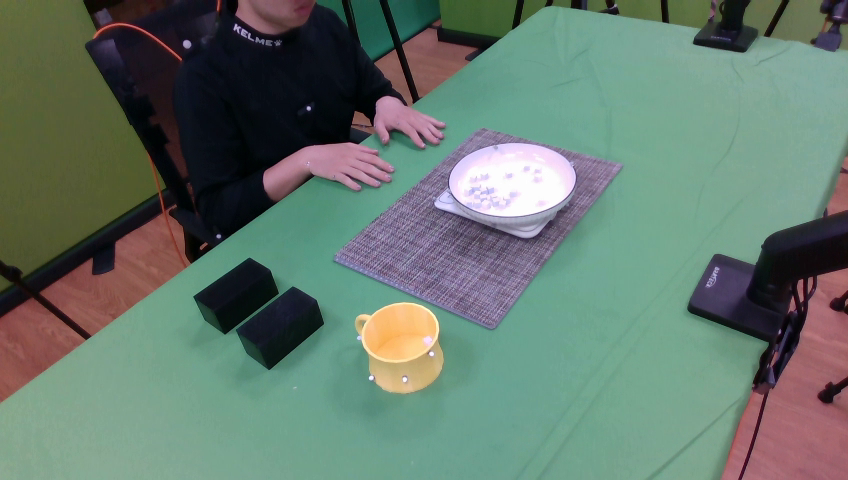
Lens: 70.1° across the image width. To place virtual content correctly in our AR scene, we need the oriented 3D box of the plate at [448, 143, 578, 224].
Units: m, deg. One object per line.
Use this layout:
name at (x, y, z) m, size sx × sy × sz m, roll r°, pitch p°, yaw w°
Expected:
plate at (0.145, -0.089, 0.989) m, size 0.209 × 0.038 × 0.208 m, roll -4°, pitch 41°, yaw 4°

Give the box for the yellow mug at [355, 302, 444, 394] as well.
yellow mug at (-0.040, 0.133, 0.786) m, size 0.130 × 0.064 × 0.100 m, roll 20°, pitch 47°, yaw 29°

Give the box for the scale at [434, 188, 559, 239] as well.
scale at (0.132, -0.075, 1.025) m, size 0.199 × 0.032 × 0.149 m, roll 22°, pitch 48°, yaw 30°
